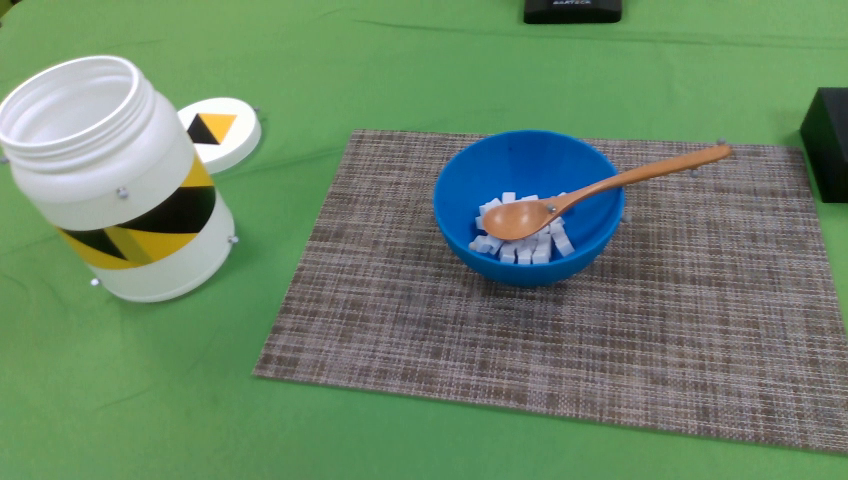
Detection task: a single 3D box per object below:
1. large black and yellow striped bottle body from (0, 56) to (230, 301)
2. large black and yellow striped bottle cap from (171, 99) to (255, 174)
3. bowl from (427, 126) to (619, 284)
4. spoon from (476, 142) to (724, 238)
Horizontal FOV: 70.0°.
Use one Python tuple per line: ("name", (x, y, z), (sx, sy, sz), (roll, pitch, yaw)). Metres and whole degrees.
("large black and yellow striped bottle body", (-0.259, -0.048, 0.517), (0.130, 0.186, 0.129), (-4, 51, 5))
("large black and yellow striped bottle cap", (-0.250, -0.118, 0.682), (0.115, 0.019, 0.114), (-3, 51, 4))
("bowl", (0.081, -0.016, 0.507), (0.151, 0.077, 0.150), (-4, 51, 5))
("spoon", (0.134, -0.041, 0.474), (0.193, 0.022, 0.041), (-20, 46, 16))
